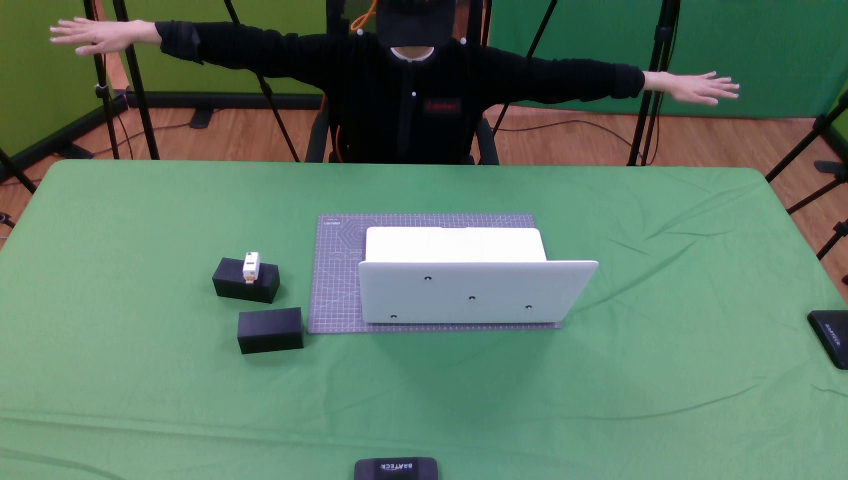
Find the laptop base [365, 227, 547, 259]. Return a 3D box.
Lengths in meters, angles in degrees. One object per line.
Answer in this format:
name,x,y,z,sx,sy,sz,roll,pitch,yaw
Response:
laptop base,0.064,0.062,1.144,0.355,0.023,0.234,0,43,-4

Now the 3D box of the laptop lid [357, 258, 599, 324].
laptop lid,0.075,0.087,0.960,0.357,0.242,0.013,1,60,-5

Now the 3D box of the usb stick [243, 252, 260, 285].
usb stick,-0.301,0.050,1.055,0.021,0.027,0.059,1,48,-6
